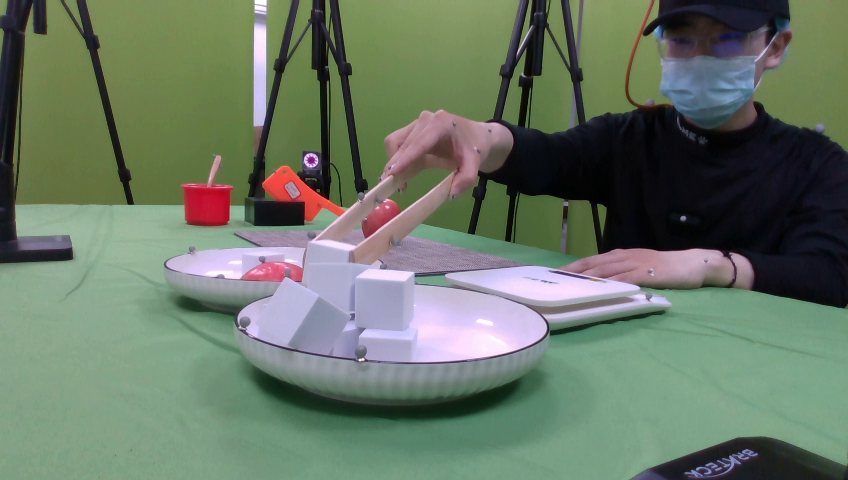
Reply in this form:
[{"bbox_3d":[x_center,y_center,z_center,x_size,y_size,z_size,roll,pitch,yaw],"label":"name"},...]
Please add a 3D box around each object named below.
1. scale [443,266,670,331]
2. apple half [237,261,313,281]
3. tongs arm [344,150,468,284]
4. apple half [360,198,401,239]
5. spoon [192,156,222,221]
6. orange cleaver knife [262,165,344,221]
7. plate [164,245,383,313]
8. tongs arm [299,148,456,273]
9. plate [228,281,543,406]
[{"bbox_3d":[0.131,0.052,0.603,0.202,0.031,0.148,-2,9,-37],"label":"scale"},{"bbox_3d":[-0.141,0.036,0.578,0.081,0.033,0.081,2,11,0],"label":"apple half"},{"bbox_3d":[-0.002,-0.040,0.603,0.028,0.028,0.388,9,21,14],"label":"tongs arm"},{"bbox_3d":[-0.066,-0.032,1.014,0.053,0.074,0.081,9,6,21],"label":"apple half"},{"bbox_3d":[-0.430,-0.108,1.222,0.041,0.021,0.193,-1,52,0],"label":"spoon"},{"bbox_3d":[-0.243,-0.081,1.292,0.212,0.077,0.012,34,-8,-26],"label":"orange cleaver knife"},{"bbox_3d":[-0.145,0.038,0.600,0.209,0.038,0.209,2,8,0],"label":"plate"},{"bbox_3d":[-0.025,-0.046,0.608,0.051,0.026,0.385,11,21,9],"label":"tongs arm"},{"bbox_3d":[-0.025,0.067,0.413,0.208,0.039,0.207,3,8,0],"label":"plate"}]
